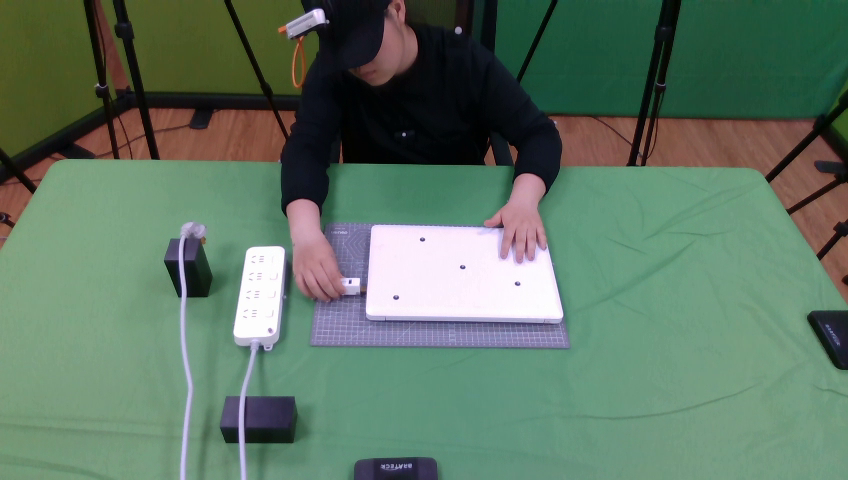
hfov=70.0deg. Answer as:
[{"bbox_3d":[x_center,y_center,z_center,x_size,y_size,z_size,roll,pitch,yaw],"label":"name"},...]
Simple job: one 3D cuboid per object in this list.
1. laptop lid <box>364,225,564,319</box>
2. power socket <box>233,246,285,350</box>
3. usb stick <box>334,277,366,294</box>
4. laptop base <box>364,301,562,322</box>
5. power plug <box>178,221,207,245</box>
[{"bbox_3d":[0.070,0.053,1.138,0.357,0.013,0.240,3,44,-2],"label":"laptop lid"},{"bbox_3d":[-0.291,0.094,1.078,0.072,0.033,0.225,-2,46,-5],"label":"power socket"},{"bbox_3d":[-0.132,0.083,1.093,0.059,0.027,0.021,5,43,-6],"label":"usb stick"},{"bbox_3d":[0.070,0.063,1.145,0.354,0.023,0.234,1,43,-3],"label":"laptop base"},{"bbox_3d":[-0.413,-0.002,1.069,0.035,0.053,0.072,-1,41,24],"label":"power plug"}]
